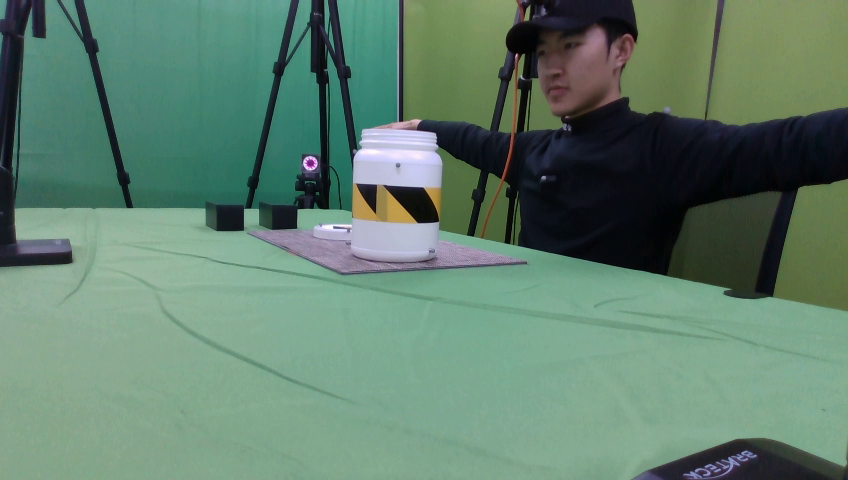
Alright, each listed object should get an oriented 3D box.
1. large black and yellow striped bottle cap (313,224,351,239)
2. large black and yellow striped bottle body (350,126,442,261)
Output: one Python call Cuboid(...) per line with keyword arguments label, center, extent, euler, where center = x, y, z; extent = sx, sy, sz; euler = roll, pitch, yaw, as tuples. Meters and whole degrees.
Cuboid(label="large black and yellow striped bottle cap", center=(-0.145, -0.016, 1.107), extent=(0.115, 0.019, 0.115), euler=(3, 7, 0))
Cuboid(label="large black and yellow striped bottle body", center=(-0.040, -0.068, 0.881), extent=(0.131, 0.184, 0.130), euler=(2, 7, 0))
